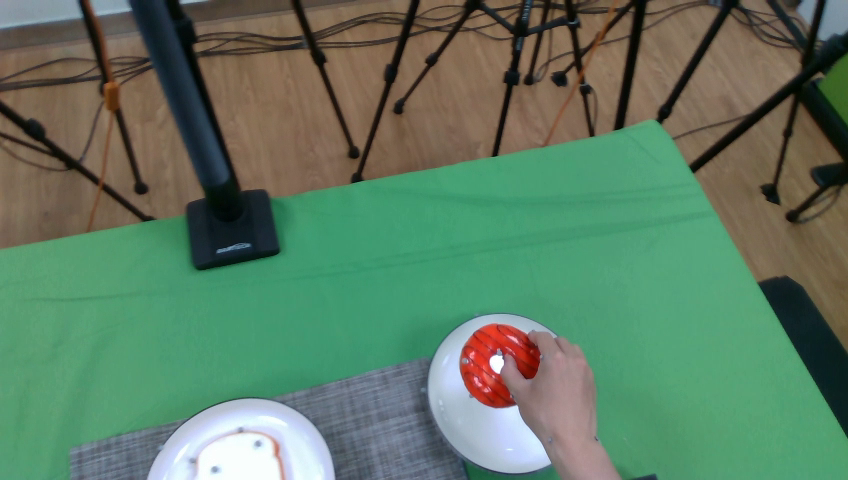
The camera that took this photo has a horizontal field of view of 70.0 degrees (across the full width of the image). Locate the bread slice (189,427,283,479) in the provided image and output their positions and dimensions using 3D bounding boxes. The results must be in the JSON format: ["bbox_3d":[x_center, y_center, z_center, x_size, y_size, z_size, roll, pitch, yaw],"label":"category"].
[{"bbox_3d":[-0.211,0.277,0.676,0.105,0.019,0.130,-8,62,-11],"label":"bread slice"}]

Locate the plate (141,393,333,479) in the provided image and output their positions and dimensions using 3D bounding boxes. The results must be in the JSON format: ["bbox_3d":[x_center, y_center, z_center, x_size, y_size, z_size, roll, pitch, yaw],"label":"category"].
[{"bbox_3d":[-0.205,0.277,0.674,0.209,0.038,0.207,2,61,-4],"label":"plate"}]

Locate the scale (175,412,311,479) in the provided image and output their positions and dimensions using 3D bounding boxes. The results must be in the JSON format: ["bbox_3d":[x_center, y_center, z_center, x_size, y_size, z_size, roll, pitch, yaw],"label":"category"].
[{"bbox_3d":[-0.201,0.308,0.695,0.149,0.032,0.199,-12,63,-11],"label":"scale"}]

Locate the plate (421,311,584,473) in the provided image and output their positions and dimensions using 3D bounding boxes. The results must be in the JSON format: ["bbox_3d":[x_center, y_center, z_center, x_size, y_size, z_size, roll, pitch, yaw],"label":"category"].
[{"bbox_3d":[0.099,0.195,0.784,0.208,0.039,0.206,2,61,-3],"label":"plate"}]

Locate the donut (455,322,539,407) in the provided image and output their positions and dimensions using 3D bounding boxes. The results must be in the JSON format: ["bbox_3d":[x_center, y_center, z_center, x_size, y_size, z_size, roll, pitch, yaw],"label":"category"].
[{"bbox_3d":[0.085,0.144,0.705,0.099,0.048,0.098,0,71,-1],"label":"donut"}]
